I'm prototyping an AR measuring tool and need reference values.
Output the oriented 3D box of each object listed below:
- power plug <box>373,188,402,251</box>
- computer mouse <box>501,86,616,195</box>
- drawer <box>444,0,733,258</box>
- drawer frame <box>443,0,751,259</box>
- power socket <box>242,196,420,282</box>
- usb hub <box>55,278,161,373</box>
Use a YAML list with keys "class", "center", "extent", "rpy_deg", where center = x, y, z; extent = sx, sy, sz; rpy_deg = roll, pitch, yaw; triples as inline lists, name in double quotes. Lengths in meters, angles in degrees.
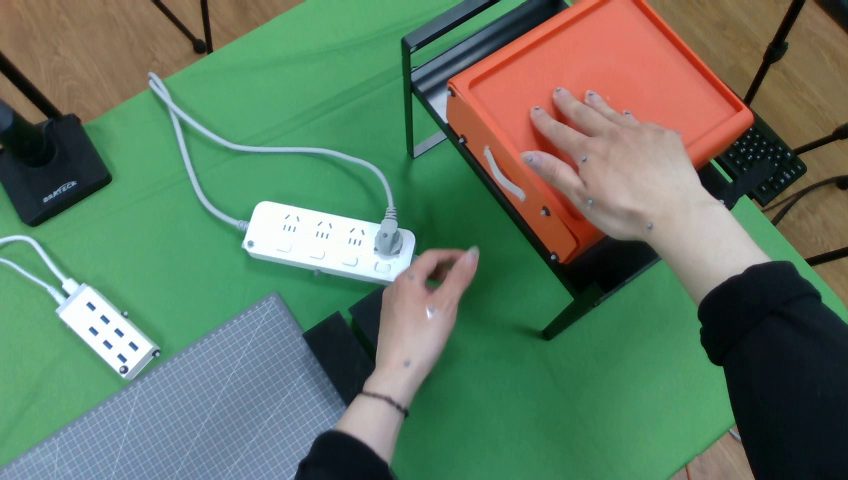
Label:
- class: "power plug"
  center: [-0.038, -0.020, 0.751]
  extent: [0.035, 0.053, 0.072]
  rpy_deg: [23, 72, 7]
- class: "computer mouse"
  center: [0.133, -0.102, 0.601]
  extent: [0.063, 0.041, 0.116]
  rpy_deg: [-39, 74, -7]
- class: "drawer"
  center: [0.157, -0.120, 0.592]
  extent: [0.212, 0.073, 0.193]
  rpy_deg: [-34, 76, -11]
- class: "drawer frame"
  center: [0.159, -0.124, 0.592]
  extent: [0.213, 0.083, 0.200]
  rpy_deg: [-34, 76, -12]
- class: "power socket"
  center: [-0.118, -0.002, 0.764]
  extent: [0.226, 0.033, 0.072]
  rpy_deg: [12, 73, 3]
- class: "usb hub"
  center: [-0.382, 0.103, 0.732]
  extent: [0.124, 0.025, 0.049]
  rpy_deg: [38, 77, 10]
